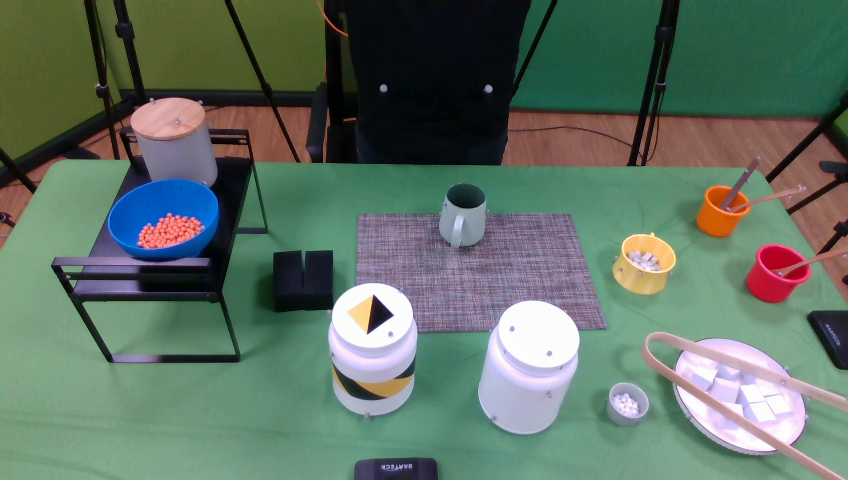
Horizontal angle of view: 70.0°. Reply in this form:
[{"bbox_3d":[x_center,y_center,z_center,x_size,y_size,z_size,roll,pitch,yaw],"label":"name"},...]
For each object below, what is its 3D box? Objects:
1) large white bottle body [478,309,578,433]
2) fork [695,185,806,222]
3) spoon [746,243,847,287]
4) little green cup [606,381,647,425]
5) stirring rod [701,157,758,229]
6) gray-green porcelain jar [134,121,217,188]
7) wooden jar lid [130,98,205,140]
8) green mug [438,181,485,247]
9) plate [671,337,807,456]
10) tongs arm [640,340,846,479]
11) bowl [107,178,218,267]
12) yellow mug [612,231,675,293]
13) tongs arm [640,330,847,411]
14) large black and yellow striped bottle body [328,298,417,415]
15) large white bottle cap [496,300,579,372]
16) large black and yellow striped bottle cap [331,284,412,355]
[{"bbox_3d":[0.156,0.192,0.913,0.131,0.185,0.130,2,46,-2],"label":"large white bottle body"},{"bbox_3d":[0.657,-0.074,1.230,0.207,0.019,0.028,-23,36,37],"label":"fork"},{"bbox_3d":[0.702,0.044,1.126,0.194,0.022,0.041,-29,38,30],"label":"spoon"},{"bbox_3d":[0.319,0.261,0.962,0.061,0.039,0.061,2,45,-2],"label":"little green cup"},{"bbox_3d":[0.634,-0.096,1.257,0.014,0.006,0.176,38,97,30],"label":"stirring rod"},{"bbox_3d":[-0.397,-0.141,0.980,0.106,0.127,0.105,2,47,-2],"label":"gray-green porcelain jar"},{"bbox_3d":[-0.393,-0.183,0.934,0.108,0.021,0.107,2,44,-2],"label":"wooden jar lid"},{"bbox_3d":[0.071,-0.039,1.178,0.092,0.105,0.124,12,47,7],"label":"green mug"},{"bbox_3d":[0.503,0.254,0.984,0.208,0.039,0.206,2,46,-2],"label":"plate"},{"bbox_3d":[0.500,0.277,0.919,0.386,0.028,0.028,34,59,22],"label":"tongs arm"},{"bbox_3d":[-0.374,-0.014,0.893,0.151,0.077,0.150,2,46,-2],"label":"bowl"},{"bbox_3d":[0.424,0.033,1.168,0.100,0.064,0.130,18,47,14],"label":"yellow mug"},{"bbox_3d":[0.543,0.226,0.969,0.384,0.026,0.050,22,52,13],"label":"tongs arm"},{"bbox_3d":[-0.078,0.167,0.920,0.131,0.185,0.130,2,46,-2],"label":"large black and yellow striped bottle body"},{"bbox_3d":[0.160,0.133,0.852,0.115,0.018,0.114,3,46,-2],"label":"large white bottle cap"},{"bbox_3d":[-0.073,0.110,0.858,0.115,0.019,0.114,2,46,-2],"label":"large black and yellow striped bottle cap"}]
